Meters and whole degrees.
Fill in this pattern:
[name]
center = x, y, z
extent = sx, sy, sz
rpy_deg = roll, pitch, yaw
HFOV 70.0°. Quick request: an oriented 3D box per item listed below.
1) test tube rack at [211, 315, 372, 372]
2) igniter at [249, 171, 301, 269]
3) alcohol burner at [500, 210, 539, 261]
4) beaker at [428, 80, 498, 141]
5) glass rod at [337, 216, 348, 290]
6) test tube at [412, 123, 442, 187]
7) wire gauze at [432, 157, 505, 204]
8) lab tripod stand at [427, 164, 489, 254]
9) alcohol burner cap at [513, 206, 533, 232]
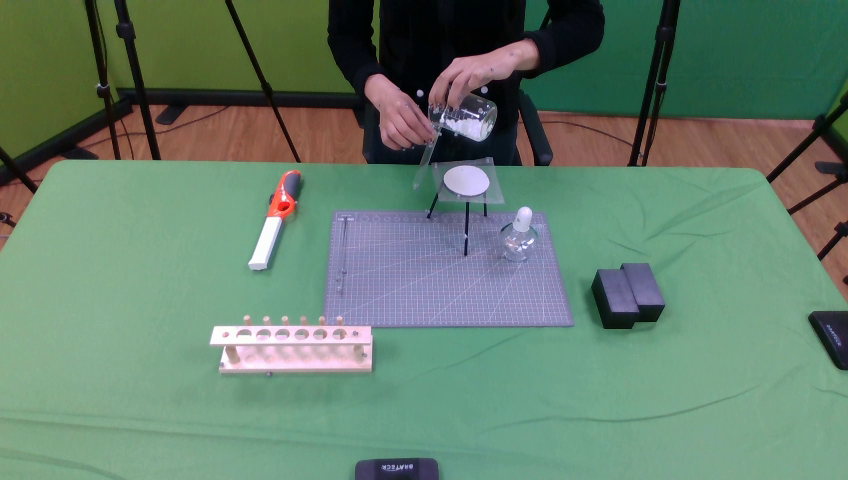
[test tube rack]
center = -0.208, 0.163, 0.982
extent = 0.242, 0.085, 0.066
rpy_deg = 1, 46, -4
[igniter]
center = -0.297, -0.049, 1.221
extent = 0.057, 0.025, 0.275
rpy_deg = -1, 45, 9
[alcohol burner]
center = 0.185, -0.016, 1.159
extent = 0.078, 0.119, 0.077
rpy_deg = 2, 48, -2
[beaker]
center = 0.067, -0.215, 1.029
extent = 0.100, 0.084, 0.074
rpy_deg = 26, 43, 20
[glass rod]
center = -0.158, 0.021, 1.171
extent = 0.008, 0.008, 0.198
rpy_deg = 1, 43, -2
[test tube]
center = 0.004, -0.154, 1.120
extent = 0.017, 0.151, 0.017
rpy_deg = 11, 45, -11
[wire gauze]
center = 0.081, -0.112, 1.137
extent = 0.125, 0.011, 0.120
rpy_deg = -2, 48, -6
[lab tripod stand]
center = 0.077, -0.068, 1.187
extent = 0.148, 0.132, 0.147
rpy_deg = 3, 47, -3
[alcohol burner cap]
center = 0.187, -0.042, 1.134
extent = 0.034, 0.048, 0.033
rpy_deg = 6, 41, -5
